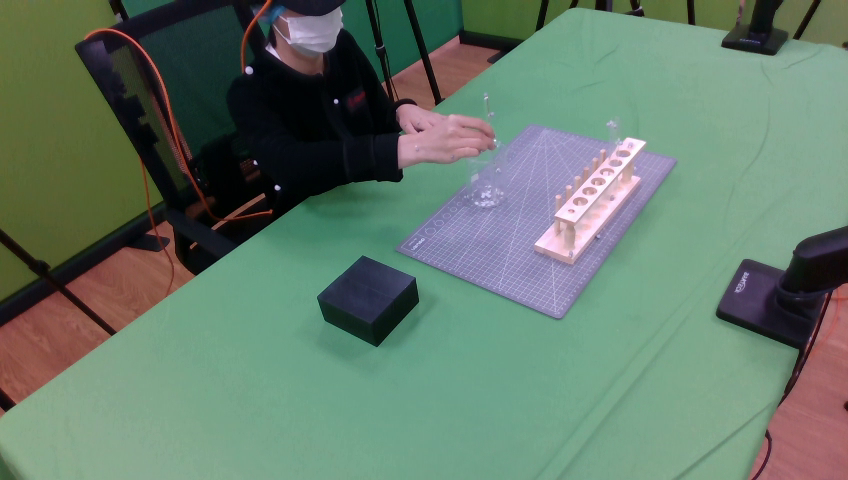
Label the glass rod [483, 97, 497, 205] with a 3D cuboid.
[{"bbox_3d":[0.108,-0.138,0.977,0.008,0.200,0.008,-7,38,6],"label":"glass rod"}]

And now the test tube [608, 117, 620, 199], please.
[{"bbox_3d":[0.298,-0.125,0.946,0.017,0.151,0.017,-8,42,8],"label":"test tube"}]

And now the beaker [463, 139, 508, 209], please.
[{"bbox_3d":[0.108,-0.111,1.027,0.073,0.100,0.084,26,49,33],"label":"beaker"}]

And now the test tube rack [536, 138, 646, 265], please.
[{"bbox_3d":[0.268,-0.071,0.964,0.066,0.085,0.243,23,49,32],"label":"test tube rack"}]
